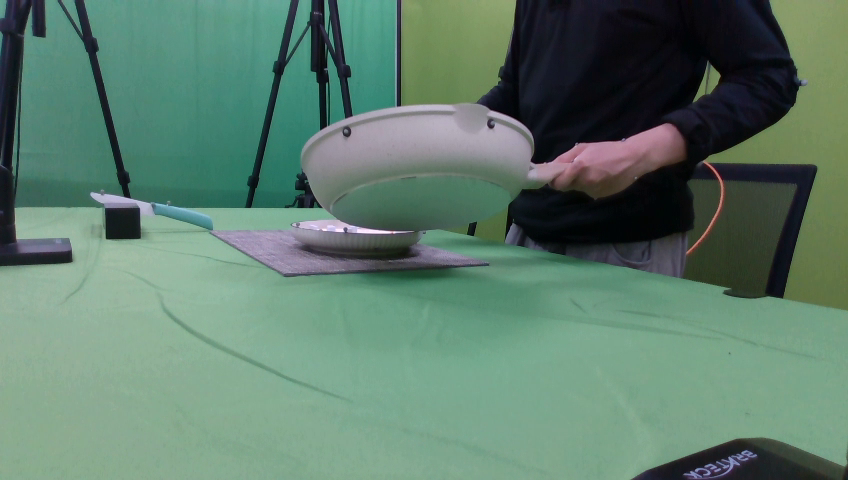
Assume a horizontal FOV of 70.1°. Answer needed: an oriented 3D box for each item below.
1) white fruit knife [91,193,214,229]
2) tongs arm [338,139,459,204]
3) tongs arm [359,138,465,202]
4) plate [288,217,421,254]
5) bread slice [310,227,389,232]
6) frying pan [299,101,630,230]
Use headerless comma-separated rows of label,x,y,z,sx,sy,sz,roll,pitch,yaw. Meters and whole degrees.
white fruit knife,-0.478,-0.055,1.077,0.208,0.027,0.016,14,-2,-30
tongs arm,-0.031,-0.133,1.108,0.050,0.026,0.386,-5,17,28
tongs arm,-0.007,-0.134,1.093,0.028,0.028,0.389,-7,16,32
plate,-0.109,-0.007,0.956,0.208,0.039,0.207,2,8,0
bread slice,-0.115,-0.005,0.950,0.134,0.018,0.107,3,6,-7
frying pan,0.087,-0.088,0.801,0.490,0.102,0.306,-7,-11,-25
